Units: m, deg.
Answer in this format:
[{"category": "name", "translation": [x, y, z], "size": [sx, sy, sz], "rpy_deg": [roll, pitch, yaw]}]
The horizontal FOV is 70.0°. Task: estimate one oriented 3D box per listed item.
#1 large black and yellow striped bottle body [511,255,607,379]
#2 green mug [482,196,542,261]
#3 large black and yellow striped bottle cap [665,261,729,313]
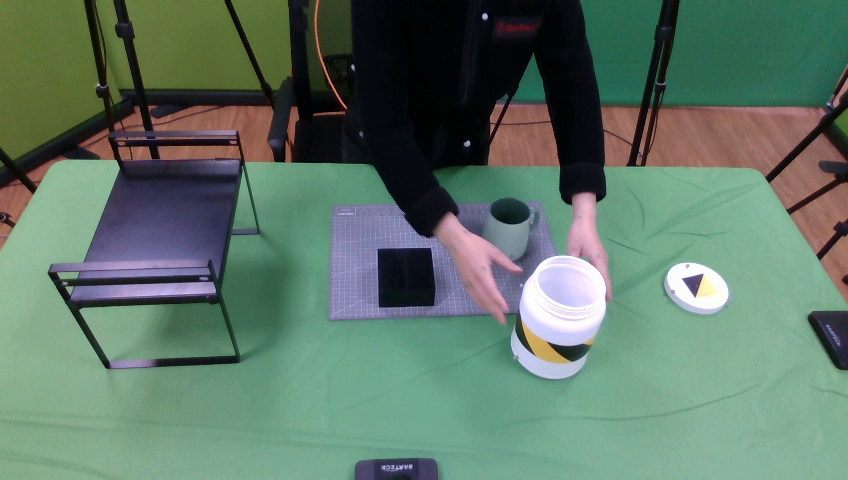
[{"category": "large black and yellow striped bottle body", "translation": [0.218, 0.124, 0.980], "size": [0.131, 0.185, 0.130], "rpy_deg": [2, 47, -1]}, {"category": "green mug", "translation": [0.175, -0.026, 1.172], "size": [0.125, 0.105, 0.092], "rpy_deg": [-22, 51, -22]}, {"category": "large black and yellow striped bottle cap", "translation": [0.519, 0.088, 1.152], "size": [0.115, 0.019, 0.114], "rpy_deg": [2, 47, -2]}]
